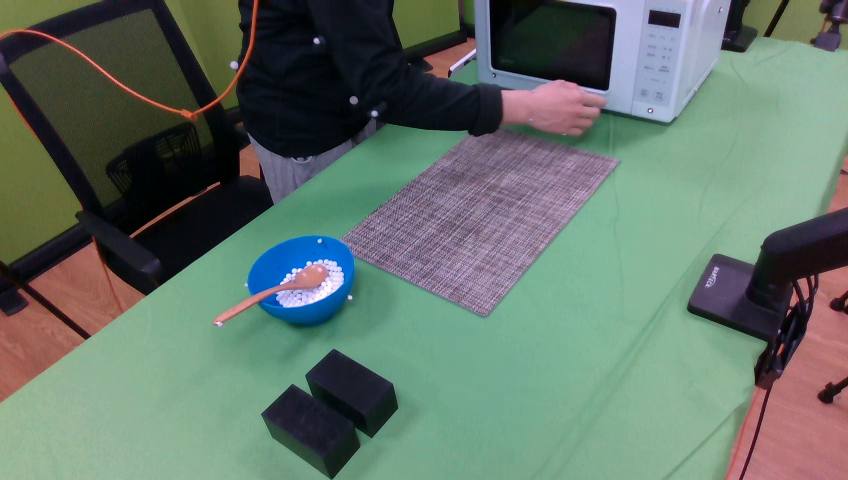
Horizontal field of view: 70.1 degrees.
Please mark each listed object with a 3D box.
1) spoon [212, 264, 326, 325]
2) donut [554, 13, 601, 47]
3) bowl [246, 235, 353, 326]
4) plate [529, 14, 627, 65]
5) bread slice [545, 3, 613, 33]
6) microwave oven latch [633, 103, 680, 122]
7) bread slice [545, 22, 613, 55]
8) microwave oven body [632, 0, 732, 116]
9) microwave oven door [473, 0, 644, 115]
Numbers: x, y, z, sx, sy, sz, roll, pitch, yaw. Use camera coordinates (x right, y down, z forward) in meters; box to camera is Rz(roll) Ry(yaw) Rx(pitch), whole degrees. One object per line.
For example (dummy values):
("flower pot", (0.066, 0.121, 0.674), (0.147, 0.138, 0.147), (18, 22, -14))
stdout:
("spoon", (-0.208, 0.072, 0.822), (0.041, 0.021, 0.195), (27, 29, 26))
("donut", (0.328, -0.452, 1.296), (0.099, 0.048, 0.098), (-5, 46, 5))
("bowl", (-0.170, 0.070, 0.868), (0.151, 0.077, 0.150), (-4, 40, 4))
("plate", (0.332, -0.433, 1.317), (0.207, 0.039, 0.206), (-5, 42, 5))
("bread slice", (0.330, -0.473, 1.280), (0.131, 0.019, 0.104), (-10, 38, 0))
("microwave oven latch", (0.443, -0.249, 1.158), (0.078, 0.029, 0.030), (21, 49, 30))
("bread slice", (0.339, -0.440, 1.311), (0.134, 0.018, 0.106), (-11, 48, -8))
("microwave oven body", (0.377, -0.463, 1.267), (0.438, 0.261, 0.327), (21, 49, 30))
("microwave oven door", (0.257, -0.396, 1.199), (0.353, 0.245, 0.039), (21, 48, 29))
